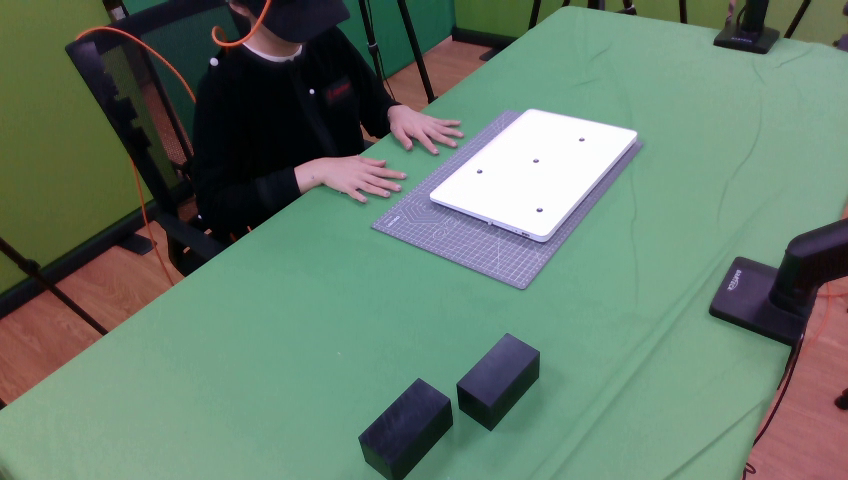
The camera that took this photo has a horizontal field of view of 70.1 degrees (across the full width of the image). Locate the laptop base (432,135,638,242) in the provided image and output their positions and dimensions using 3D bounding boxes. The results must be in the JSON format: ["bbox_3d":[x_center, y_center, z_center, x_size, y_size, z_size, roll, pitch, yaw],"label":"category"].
[{"bbox_3d":[0.208,-0.128,1.098,0.233,0.023,0.355,20,47,34],"label":"laptop base"}]

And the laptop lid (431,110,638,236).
[{"bbox_3d":[0.205,-0.138,1.092,0.239,0.013,0.358,23,49,34],"label":"laptop lid"}]
